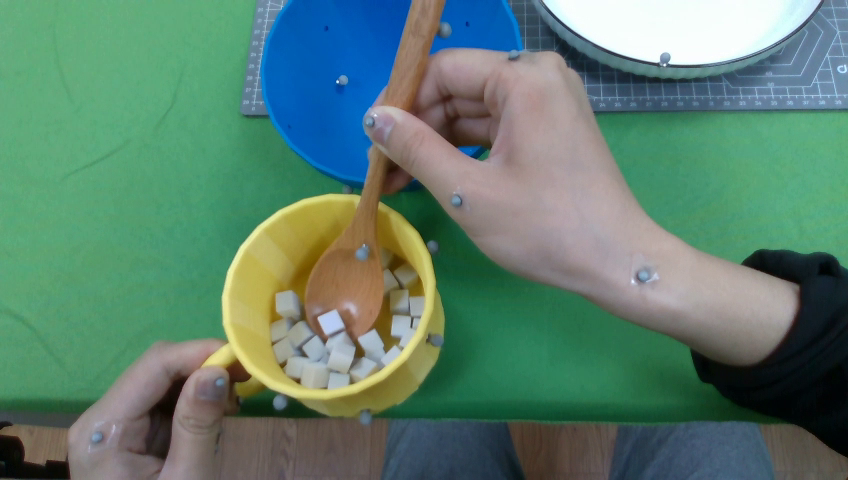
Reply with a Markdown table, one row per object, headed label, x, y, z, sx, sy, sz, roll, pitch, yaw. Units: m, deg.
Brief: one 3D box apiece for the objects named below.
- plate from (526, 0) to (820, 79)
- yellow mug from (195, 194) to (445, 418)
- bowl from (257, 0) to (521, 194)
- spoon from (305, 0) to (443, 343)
| label | x | y | z | sx | sy | sz | roll | pitch | yaw |
| --- | --- | --- | --- | --- | --- | --- | --- | --- | --- |
| plate | 0.164 | -0.197 | 0.419 | 0.209 | 0.038 | 0.207 | -1 | 71 | 4 |
| yellow mug | -0.054 | 0.044 | 0.304 | 0.131 | 0.064 | 0.099 | -33 | 69 | -8 |
| bowl | -0.017 | -0.090 | 0.377 | 0.151 | 0.077 | 0.150 | -1 | 75 | 5 |
| spoon | -0.020 | -0.030 | 0.276 | 0.041 | 0.195 | 0.021 | 23 | 32 | 6 |
